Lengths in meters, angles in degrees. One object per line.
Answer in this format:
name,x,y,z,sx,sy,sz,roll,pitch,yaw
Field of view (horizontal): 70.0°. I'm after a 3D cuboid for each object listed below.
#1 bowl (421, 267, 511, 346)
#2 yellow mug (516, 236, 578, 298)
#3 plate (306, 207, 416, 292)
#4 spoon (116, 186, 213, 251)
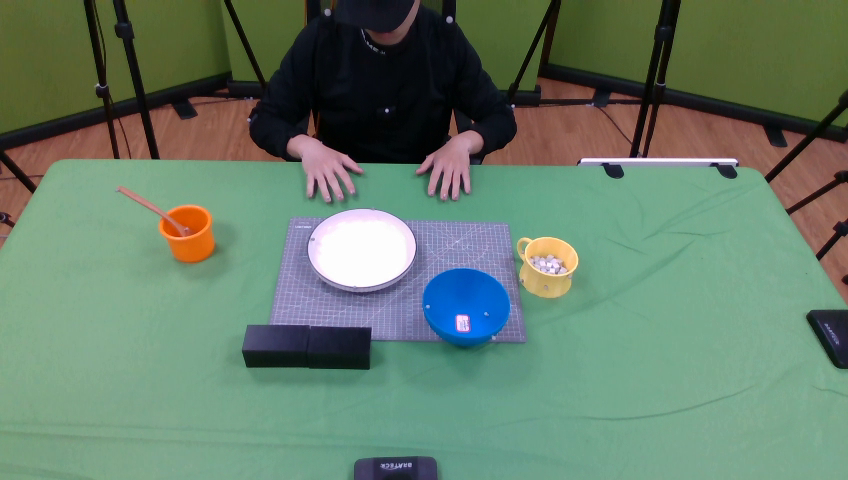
bowl,0.068,0.128,1.037,0.151,0.077,0.150,3,46,-2
yellow mug,0.223,0.041,1.145,0.100,0.064,0.130,-30,54,-29
plate,-0.119,0.021,1.153,0.209,0.038,0.208,2,46,-2
spoon,-0.474,-0.041,1.112,0.021,0.195,0.041,-31,31,29
